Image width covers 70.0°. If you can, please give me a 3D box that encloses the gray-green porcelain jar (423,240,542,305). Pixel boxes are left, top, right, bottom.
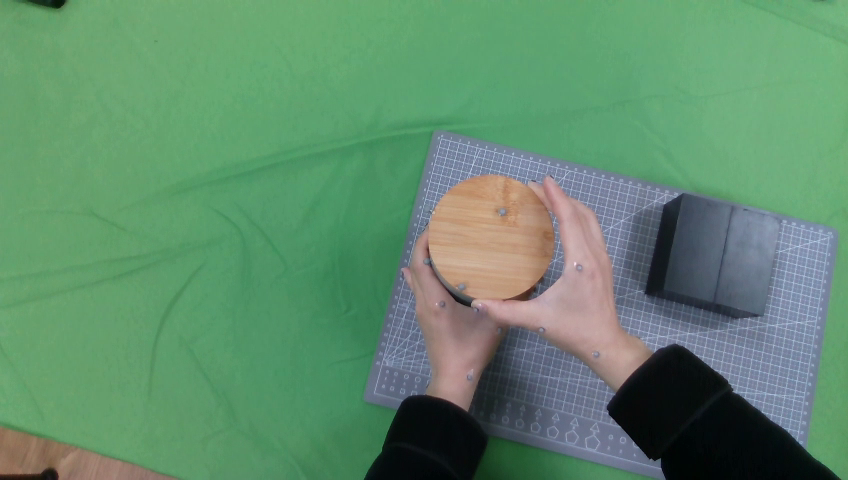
[{"bbox_3d":[0.053,0.008,0.580,0.106,0.127,0.105,1,82,-4],"label":"gray-green porcelain jar"}]

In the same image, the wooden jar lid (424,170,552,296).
[{"bbox_3d":[0.054,-0.005,0.517,0.108,0.021,0.108,0,84,-2],"label":"wooden jar lid"}]
